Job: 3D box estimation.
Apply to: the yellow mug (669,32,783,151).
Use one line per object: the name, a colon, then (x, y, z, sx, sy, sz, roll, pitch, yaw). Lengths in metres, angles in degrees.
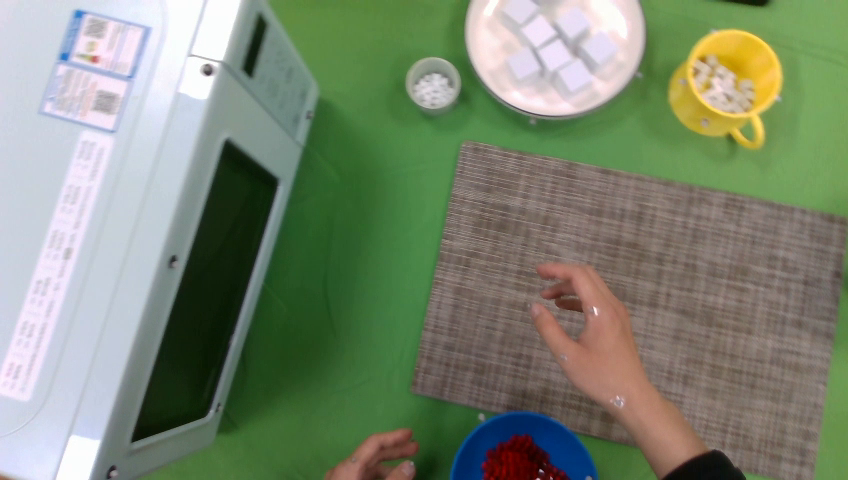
yellow mug: (0.346, -0.160, 0.685, 0.100, 0.064, 0.130, -24, 83, 0)

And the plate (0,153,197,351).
plate: (-0.342, 0.013, 0.648, 0.209, 0.038, 0.208, 0, 86, 2)

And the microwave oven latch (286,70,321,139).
microwave oven latch: (-0.145, -0.160, 0.704, 0.030, 0.029, 0.079, 19, 85, 5)

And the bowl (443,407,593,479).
bowl: (0.096, 0.248, 0.643, 0.151, 0.077, 0.151, 0, 83, 3)

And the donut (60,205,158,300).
donut: (-0.328, 0.013, 0.635, 0.099, 0.048, 0.099, 0, 88, 2)

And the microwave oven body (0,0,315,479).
microwave oven body: (-0.341, -0.042, 0.603, 0.326, 0.261, 0.441, 16, 85, 4)

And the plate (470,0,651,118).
plate: (0.158, -0.242, 0.718, 0.207, 0.039, 0.207, 0, 83, 3)

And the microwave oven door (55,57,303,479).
microwave oven door: (-0.213, 0.037, 0.582, 0.039, 0.244, 0.355, 15, 84, 6)

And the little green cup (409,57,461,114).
little green cup: (0.014, -0.180, 0.716, 0.061, 0.039, 0.061, 0, 84, 2)
